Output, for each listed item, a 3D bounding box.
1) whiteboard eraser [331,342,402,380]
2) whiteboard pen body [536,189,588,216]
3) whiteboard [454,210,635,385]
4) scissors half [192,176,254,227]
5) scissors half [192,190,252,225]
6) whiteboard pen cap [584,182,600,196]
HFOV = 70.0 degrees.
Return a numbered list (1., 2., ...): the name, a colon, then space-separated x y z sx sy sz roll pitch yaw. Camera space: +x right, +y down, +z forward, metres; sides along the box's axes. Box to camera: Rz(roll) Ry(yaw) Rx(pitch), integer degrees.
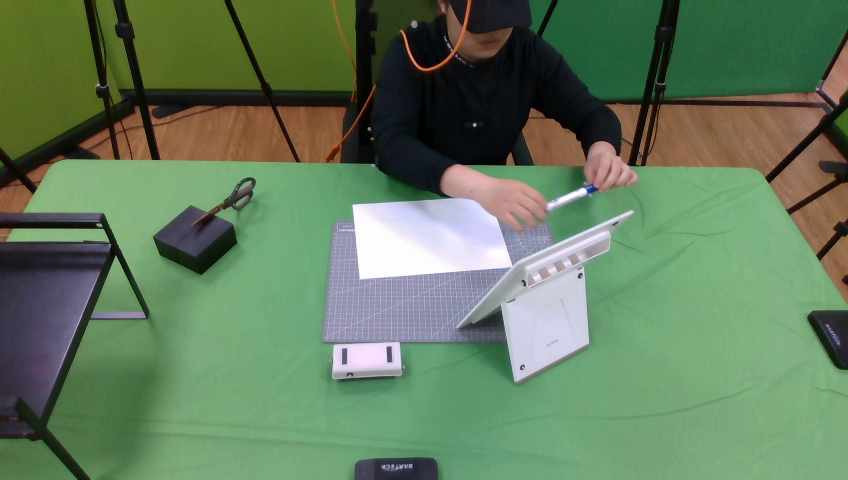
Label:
1. whiteboard eraser: -0.094 0.198 0.986 0.113 0.042 0.055 -2 44 -6
2. whiteboard pen body: 0.274 -0.077 1.161 0.141 0.017 0.017 -24 52 -21
3. whiteboard: 0.210 0.110 0.955 0.217 0.306 0.143 -21 72 -23
4. scissors half: -0.388 -0.075 1.174 0.013 0.040 0.174 29 47 8
5. scissors half: -0.394 -0.060 1.187 0.013 0.040 0.175 25 29 12
6. whiteboard pen cap: 0.325 -0.099 1.179 0.033 0.018 0.018 -29 54 -15
